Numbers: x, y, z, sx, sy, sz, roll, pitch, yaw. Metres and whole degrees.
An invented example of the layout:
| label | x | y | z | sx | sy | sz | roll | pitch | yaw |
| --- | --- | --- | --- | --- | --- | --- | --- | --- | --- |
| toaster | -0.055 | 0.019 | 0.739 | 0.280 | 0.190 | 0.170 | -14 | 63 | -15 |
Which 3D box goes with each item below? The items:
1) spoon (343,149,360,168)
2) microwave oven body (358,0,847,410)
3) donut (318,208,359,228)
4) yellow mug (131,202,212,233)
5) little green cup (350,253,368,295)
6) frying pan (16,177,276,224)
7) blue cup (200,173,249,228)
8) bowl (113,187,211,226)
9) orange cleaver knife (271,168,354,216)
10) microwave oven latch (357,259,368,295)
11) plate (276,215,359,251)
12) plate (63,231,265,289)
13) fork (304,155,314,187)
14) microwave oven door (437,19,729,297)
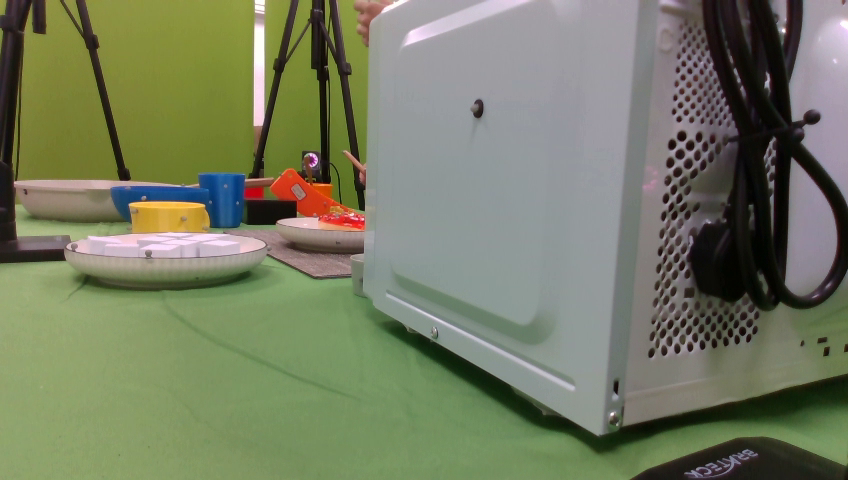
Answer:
| label | x | y | z | sx | sy | sz | roll | pitch | yaw |
| --- | --- | --- | --- | --- | --- | --- | --- | --- | --- |
| spoon | -0.109 | -0.127 | 1.268 | 0.042 | 0.021 | 0.193 | -20 | 66 | -47 |
| microwave oven body | 0.210 | -0.051 | 0.471 | 0.444 | 0.260 | 0.324 | -1 | 7 | -28 |
| donut | -0.118 | -0.024 | 0.954 | 0.099 | 0.048 | 0.099 | 5 | 7 | 0 |
| yellow mug | -0.356 | -0.020 | 0.878 | 0.099 | 0.064 | 0.131 | 5 | 7 | 21 |
| little green cup | -0.048 | 0.035 | 0.632 | 0.061 | 0.038 | 0.061 | 3 | 6 | 0 |
| frying pan | -0.554 | -0.097 | 1.266 | 0.490 | 0.102 | 0.305 | -10 | 13 | -24 |
| blue cup | -0.380 | -0.076 | 1.155 | 0.093 | 0.100 | 0.092 | 0 | 9 | 0 |
| bowl | -0.436 | -0.046 | 1.013 | 0.151 | 0.077 | 0.151 | 2 | 7 | 0 |
| orange cleaver knife | -0.236 | -0.084 | 1.332 | 0.212 | 0.077 | 0.012 | 31 | -9 | -31 |
| microwave oven latch | -0.019 | 0.031 | 0.529 | 0.079 | 0.029 | 0.030 | -1 | 7 | -26 |
| plate | -0.126 | -0.012 | 0.950 | 0.209 | 0.038 | 0.209 | 2 | 7 | 0 |
| plate | -0.288 | 0.021 | 0.687 | 0.208 | 0.039 | 0.207 | 2 | 8 | 0 |
| fork | -0.268 | -0.134 | 1.446 | 0.028 | 0.018 | 0.207 | 1 | -36 | -1 |
| microwave oven door | 0.180 | -0.076 | 0.618 | 0.358 | 0.243 | 0.039 | -2 | 9 | -28 |
